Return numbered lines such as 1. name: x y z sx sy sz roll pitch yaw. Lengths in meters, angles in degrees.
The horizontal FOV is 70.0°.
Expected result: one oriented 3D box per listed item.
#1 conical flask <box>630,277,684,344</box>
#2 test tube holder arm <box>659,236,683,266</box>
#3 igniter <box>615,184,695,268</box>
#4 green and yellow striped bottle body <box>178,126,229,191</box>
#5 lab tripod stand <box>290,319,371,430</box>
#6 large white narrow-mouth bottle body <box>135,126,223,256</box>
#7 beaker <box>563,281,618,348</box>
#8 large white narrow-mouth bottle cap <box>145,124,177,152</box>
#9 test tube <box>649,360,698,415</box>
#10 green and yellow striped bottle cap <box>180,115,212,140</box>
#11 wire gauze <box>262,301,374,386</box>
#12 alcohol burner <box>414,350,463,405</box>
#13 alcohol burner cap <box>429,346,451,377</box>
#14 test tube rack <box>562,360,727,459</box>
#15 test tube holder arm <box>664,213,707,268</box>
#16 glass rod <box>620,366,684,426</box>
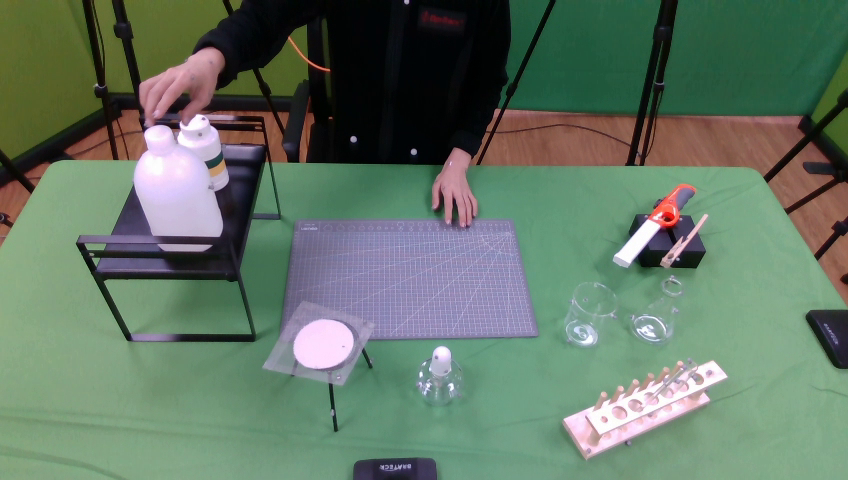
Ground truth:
1. conical flask: 0.408 0.117 1.045 0.075 0.122 0.075 2 46 -2
2. test tube holder arm: 0.472 0.020 1.149 0.010 0.015 0.088 35 54 27
3. igniter: 0.459 -0.035 1.197 0.057 0.025 0.276 33 55 27
4. green and yellow striped bottle body: -0.361 -0.142 0.989 0.063 0.120 0.063 2 46 -2
5. lab tripod stand: -0.146 0.194 0.923 0.148 0.132 0.147 1 47 -1
6. large white narrow-mouth bottle body: -0.358 -0.075 0.874 0.102 0.195 0.101 2 44 -1
7. beaker: 0.283 0.129 1.041 0.074 0.101 0.083 11 46 6
8. large white narrow-mouth bottle cap: -0.354 -0.137 0.815 0.038 0.024 0.037 2 44 -1
9. test tube: 0.365 0.222 0.897 0.017 0.151 0.017 4 49 -5
10. green and yellow striped bottle cap: -0.358 -0.177 0.951 0.045 0.020 0.045 1 45 -1
11. wire gauze: -0.150 0.148 0.873 0.121 0.011 0.124 14 46 12
12. alcohol burner: 0.023 0.205 0.939 0.078 0.120 0.077 1 47 -1
13. alcohol burner cap: 0.026 0.180 0.912 0.034 0.048 0.033 1 47 -1
14. test tube rack: 0.341 0.247 0.940 0.243 0.085 0.066 -16 49 -18
15. test tube holder arm: 0.507 -0.001 1.171 0.013 0.015 0.178 34 54 26
16. glass rod: 0.323 0.227 0.866 0.008 0.200 0.008 5 51 -7
